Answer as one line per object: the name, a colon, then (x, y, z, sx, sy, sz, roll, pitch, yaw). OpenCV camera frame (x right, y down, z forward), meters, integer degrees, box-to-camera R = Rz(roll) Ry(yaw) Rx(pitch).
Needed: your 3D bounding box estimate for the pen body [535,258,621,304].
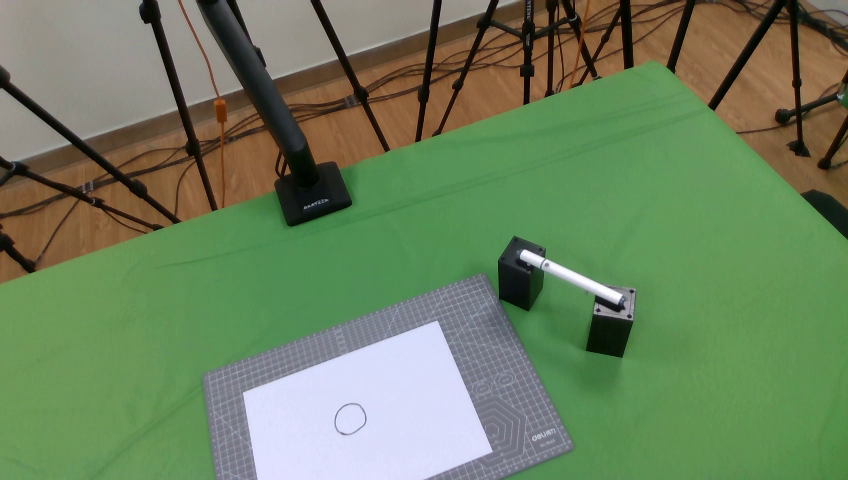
pen body: (0.191, 0.049, 0.805, 0.143, 0.017, 0.017, 26, 60, 24)

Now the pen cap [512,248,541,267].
pen cap: (0.140, 0.023, 0.831, 0.038, 0.017, 0.017, 23, 59, 25)
